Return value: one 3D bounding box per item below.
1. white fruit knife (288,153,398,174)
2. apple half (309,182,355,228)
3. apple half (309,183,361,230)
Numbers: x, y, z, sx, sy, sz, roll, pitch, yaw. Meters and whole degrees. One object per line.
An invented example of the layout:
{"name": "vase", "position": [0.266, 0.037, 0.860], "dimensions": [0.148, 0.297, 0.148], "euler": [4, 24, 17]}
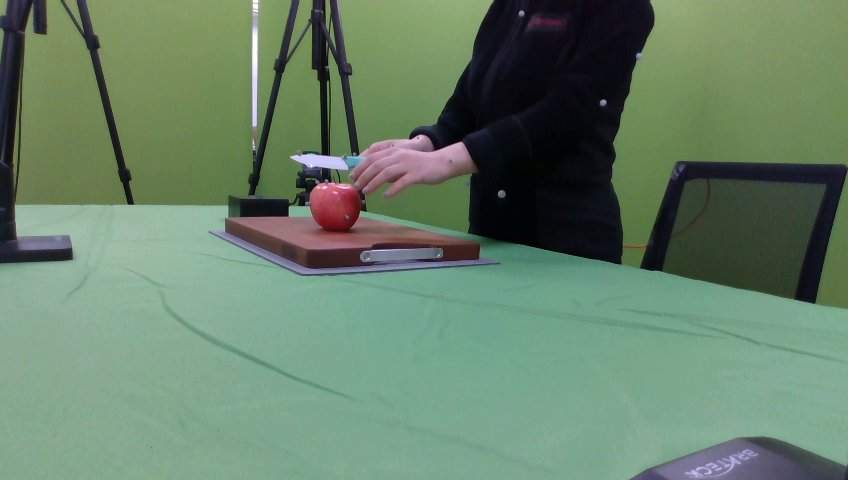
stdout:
{"name": "white fruit knife", "position": [-0.129, -0.129, 1.000], "dimensions": [0.208, 0.027, 0.016], "euler": [1, -22, -40]}
{"name": "apple half", "position": [-0.153, -0.058, 0.978], "dimensions": [0.082, 0.081, 0.032], "euler": [-2, 11, -27]}
{"name": "apple half", "position": [-0.135, -0.051, 0.945], "dimensions": [0.081, 0.074, 0.053], "euler": [3, 10, -29]}
